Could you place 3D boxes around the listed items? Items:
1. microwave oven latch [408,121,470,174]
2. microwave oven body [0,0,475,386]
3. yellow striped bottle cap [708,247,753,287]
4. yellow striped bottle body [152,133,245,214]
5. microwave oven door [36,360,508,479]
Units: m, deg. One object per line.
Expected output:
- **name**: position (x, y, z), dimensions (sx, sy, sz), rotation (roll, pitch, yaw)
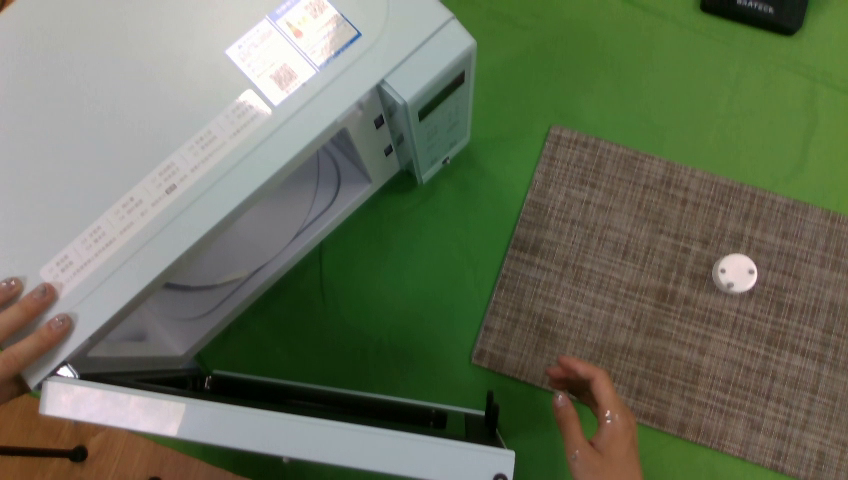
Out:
- **microwave oven latch**: position (0.017, -0.113, 0.694), dimensions (0.079, 0.029, 0.030), rotation (-41, 82, -4)
- **microwave oven body**: position (-0.218, -0.115, 0.606), dimensions (0.441, 0.261, 0.325), rotation (-43, 82, -4)
- **yellow striped bottle cap**: position (0.346, 0.031, 0.682), dimensions (0.044, 0.019, 0.044), rotation (-1, 80, 4)
- **yellow striped bottle body**: position (-0.226, -0.066, 0.606), dimensions (0.063, 0.120, 0.062), rotation (0, 82, -1)
- **microwave oven door**: position (-0.107, 0.156, 0.552), dimensions (0.355, 0.244, 0.039), rotation (8, 80, 4)
